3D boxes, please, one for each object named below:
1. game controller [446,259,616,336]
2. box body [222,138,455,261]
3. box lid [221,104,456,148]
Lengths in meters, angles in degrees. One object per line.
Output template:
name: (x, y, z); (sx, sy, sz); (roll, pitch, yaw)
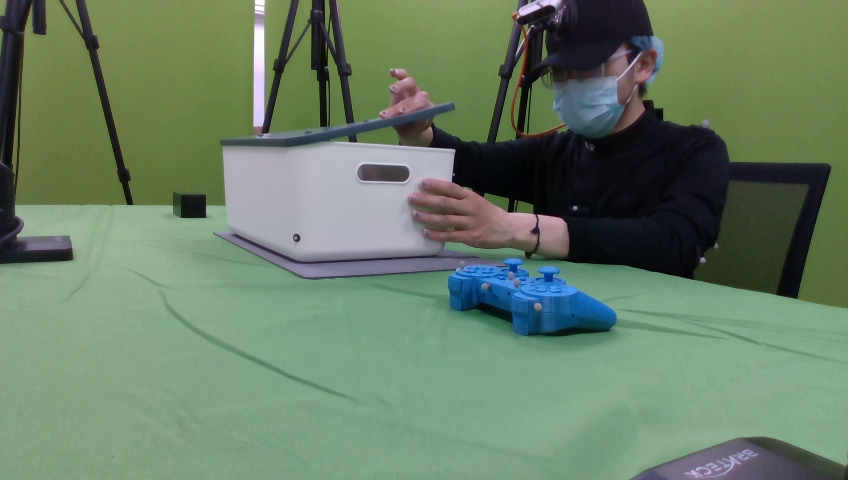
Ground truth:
game controller: (0.091, 0.048, 0.562); (0.097, 0.051, 0.154); (-7, 10, -32)
box body: (-0.150, -0.074, 0.960); (0.255, 0.160, 0.362); (-2, 9, -33)
box lid: (-0.148, -0.173, 0.942); (0.264, 0.015, 0.369); (-18, 16, -29)
